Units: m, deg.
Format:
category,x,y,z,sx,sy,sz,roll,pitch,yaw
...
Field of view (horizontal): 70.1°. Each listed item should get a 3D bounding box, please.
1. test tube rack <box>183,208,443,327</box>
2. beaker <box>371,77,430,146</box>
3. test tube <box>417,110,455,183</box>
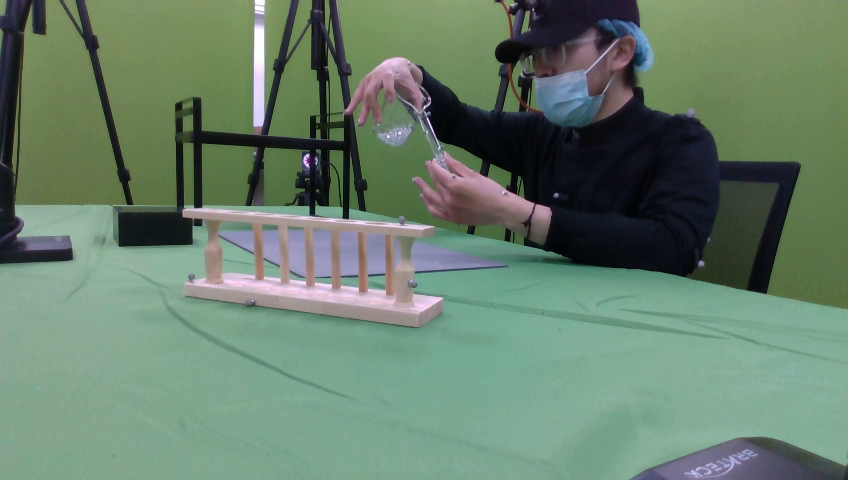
category,x,y,z,sx,sy,sz,roll,pitch,yaw
test tube rack,-0.106,0.019,0.570,0.241,0.085,0.067,5,8,19
beaker,-0.042,-0.219,1.055,0.074,0.100,0.083,-4,54,-37
test tube,0.019,-0.152,0.978,0.017,0.150,0.017,-17,-27,-9
